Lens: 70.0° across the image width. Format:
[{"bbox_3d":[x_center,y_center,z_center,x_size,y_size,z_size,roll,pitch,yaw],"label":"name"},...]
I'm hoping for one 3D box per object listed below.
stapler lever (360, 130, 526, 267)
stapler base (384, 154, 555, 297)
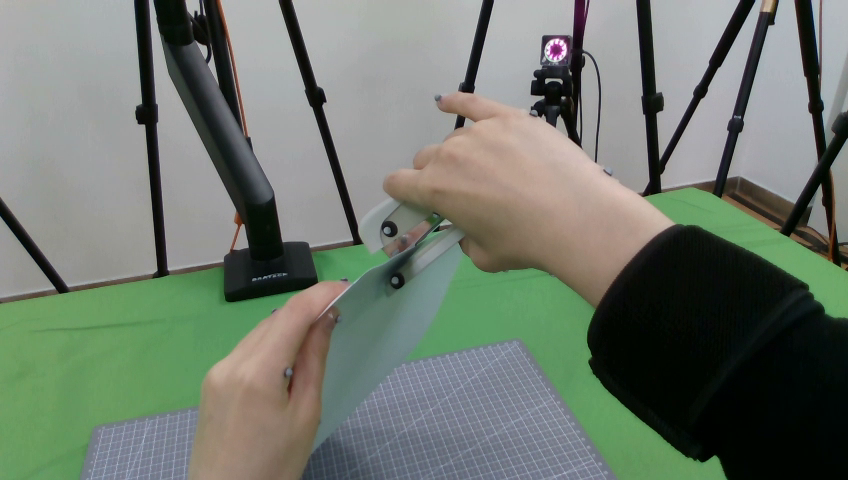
[{"bbox_3d":[0.007,-0.029,0.366,0.040,0.118,0.027,47,27,0],"label":"stapler lever"},{"bbox_3d":[0.020,-0.011,0.366,0.130,0.024,0.041,-38,2,27],"label":"stapler base"}]
